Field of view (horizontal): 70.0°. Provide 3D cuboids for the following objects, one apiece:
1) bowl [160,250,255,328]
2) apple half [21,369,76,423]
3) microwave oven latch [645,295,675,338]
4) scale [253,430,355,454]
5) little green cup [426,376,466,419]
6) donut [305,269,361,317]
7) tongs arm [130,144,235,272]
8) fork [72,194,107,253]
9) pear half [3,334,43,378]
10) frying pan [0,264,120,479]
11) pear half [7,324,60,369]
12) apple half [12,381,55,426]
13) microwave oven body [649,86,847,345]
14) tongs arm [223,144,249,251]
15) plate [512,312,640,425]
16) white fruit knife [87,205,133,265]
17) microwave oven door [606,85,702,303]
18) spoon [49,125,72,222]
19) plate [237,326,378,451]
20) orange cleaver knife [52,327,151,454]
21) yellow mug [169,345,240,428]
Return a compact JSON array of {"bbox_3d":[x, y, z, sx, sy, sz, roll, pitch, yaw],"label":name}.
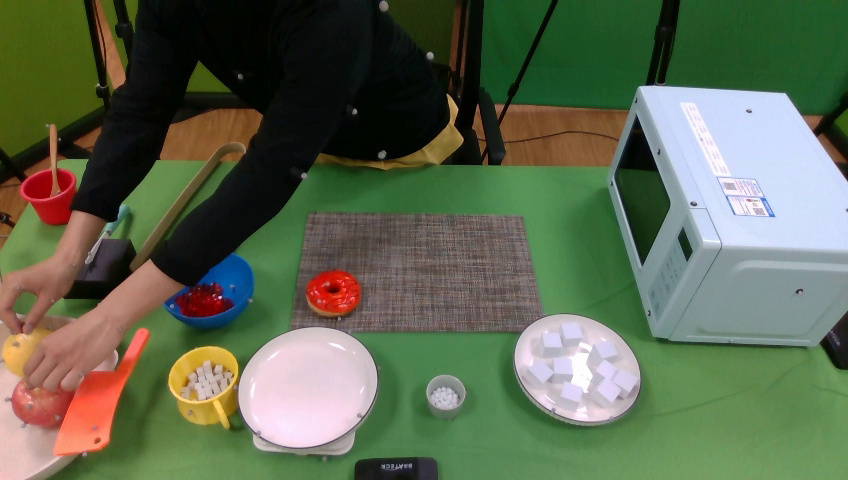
[{"bbox_3d":[-0.362,0.098,1.040,0.151,0.077,0.150,2,45,-2],"label":"bowl"},{"bbox_3d":[-0.546,0.226,0.899,0.080,0.075,0.053,28,47,28],"label":"apple half"},{"bbox_3d":[0.411,0.134,1.061,0.030,0.029,0.078,3,45,0],"label":"microwave oven latch"},{"bbox_3d":[-0.175,0.236,0.951,0.149,0.032,0.199,4,45,0],"label":"scale"},{"bbox_3d":[0.033,0.248,0.950,0.061,0.039,0.061,2,46,-2],"label":"little green cup"},{"bbox_3d":[-0.160,0.094,1.075,0.099,0.048,0.098,4,46,-3],"label":"donut"},{"bbox_3d":[-0.483,-0.079,1.234,0.028,0.028,0.385,7,44,12],"label":"tongs arm"},{"bbox_3d":[-0.634,-0.036,1.158,0.028,0.019,0.206,-7,32,-9],"label":"fork"},{"bbox_3d":[-0.614,0.182,0.919,0.070,0.088,0.031,24,38,4],"label":"pear half"},{"bbox_3d":[-0.647,0.164,0.936,0.307,0.103,0.485,-19,58,-22],"label":"frying pan"},{"bbox_3d":[-0.600,0.157,0.938,0.076,0.110,0.056,30,41,4],"label":"pear half"},{"bbox_3d":[-0.570,0.246,0.875,0.081,0.081,0.033,33,48,25],"label":"apple half"},{"bbox_3d":[0.567,-0.053,1.118,0.326,0.261,0.439,2,45,-1],"label":"microwave oven body"},{"bbox_3d":[-0.397,-0.073,1.232,0.051,0.026,0.382,-1,45,-1],"label":"tongs arm"},{"bbox_3d":[0.246,0.213,0.999,0.208,0.039,0.206,2,46,-2],"label":"plate"},{"bbox_3d":[-0.584,-0.013,1.129,0.016,0.027,0.206,0,31,-5],"label":"white fruit knife"},{"bbox_3d":[0.422,-0.094,1.140,0.039,0.245,0.353,2,46,-1],"label":"microwave oven door"},{"bbox_3d":[-0.719,-0.131,1.189,0.041,0.021,0.193,-3,91,-6],"label":"spoon"},{"bbox_3d":[-0.174,0.224,0.917,0.209,0.038,0.208,2,46,-2],"label":"plate"},{"bbox_3d":[-0.462,0.212,0.879,0.077,0.012,0.210,7,45,-2],"label":"orange cleaver knife"},{"bbox_3d":[-0.323,0.230,0.922,0.100,0.064,0.130,-24,53,-25],"label":"yellow mug"}]
